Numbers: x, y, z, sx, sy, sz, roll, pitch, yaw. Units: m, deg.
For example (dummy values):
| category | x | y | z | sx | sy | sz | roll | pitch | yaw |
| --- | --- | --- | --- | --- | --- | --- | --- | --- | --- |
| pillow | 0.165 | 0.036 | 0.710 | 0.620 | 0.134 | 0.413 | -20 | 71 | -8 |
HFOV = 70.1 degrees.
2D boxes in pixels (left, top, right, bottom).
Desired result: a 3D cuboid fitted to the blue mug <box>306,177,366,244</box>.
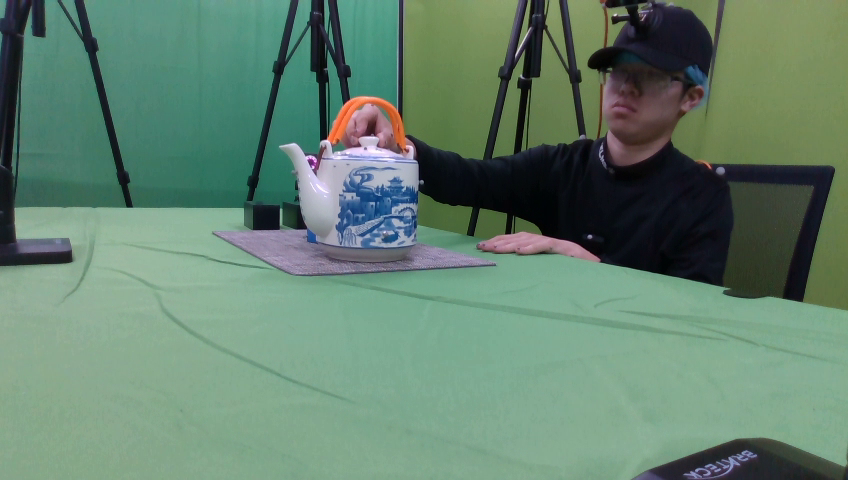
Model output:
| category | x | y | z | sx | sy | sz | roll | pitch | yaw |
| --- | --- | --- | --- | --- | --- | --- | --- | --- | --- |
| blue mug | -0.144 | -0.052 | 1.027 | 0.082 | 0.106 | 0.117 | 9 | 10 | 42 |

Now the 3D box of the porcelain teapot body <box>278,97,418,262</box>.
| category | x | y | z | sx | sy | sz | roll | pitch | yaw |
| --- | --- | --- | --- | --- | --- | --- | --- | --- | --- |
| porcelain teapot body | -0.104 | -0.086 | 0.842 | 0.206 | 0.225 | 0.144 | -4 | 10 | -38 |

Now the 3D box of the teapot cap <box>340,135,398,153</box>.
| category | x | y | z | sx | sy | sz | roll | pitch | yaw |
| --- | --- | --- | --- | --- | --- | --- | --- | --- | --- |
| teapot cap | -0.080 | -0.126 | 0.852 | 0.085 | 0.044 | 0.085 | -3 | 4 | 1 |
